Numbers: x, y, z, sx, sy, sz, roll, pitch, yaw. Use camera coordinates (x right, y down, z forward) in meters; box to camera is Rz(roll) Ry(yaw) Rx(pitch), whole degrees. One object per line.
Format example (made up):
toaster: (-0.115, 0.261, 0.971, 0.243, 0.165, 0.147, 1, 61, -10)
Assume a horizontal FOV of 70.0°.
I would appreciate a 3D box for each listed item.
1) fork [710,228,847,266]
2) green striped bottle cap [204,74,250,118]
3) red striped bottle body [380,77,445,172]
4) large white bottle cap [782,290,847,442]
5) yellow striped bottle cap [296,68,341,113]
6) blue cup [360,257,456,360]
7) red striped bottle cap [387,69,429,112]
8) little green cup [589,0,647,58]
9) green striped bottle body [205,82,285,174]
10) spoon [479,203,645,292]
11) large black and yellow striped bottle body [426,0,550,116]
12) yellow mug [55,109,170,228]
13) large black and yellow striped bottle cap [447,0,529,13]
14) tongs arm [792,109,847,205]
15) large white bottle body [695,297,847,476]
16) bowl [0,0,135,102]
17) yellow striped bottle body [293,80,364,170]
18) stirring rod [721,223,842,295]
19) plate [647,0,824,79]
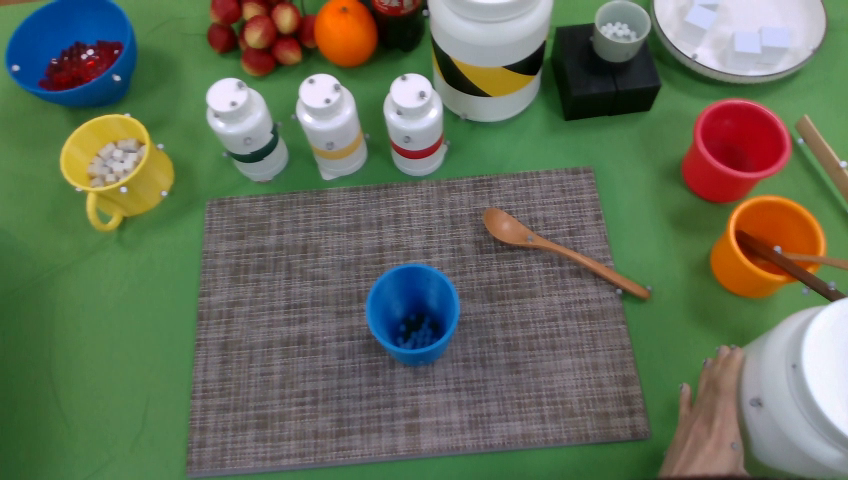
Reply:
fork: (0.367, 0.016, 0.571, 0.028, 0.019, 0.205, -39, 26, -18)
green striped bottle cap: (-0.204, -0.149, 0.625, 0.044, 0.020, 0.044, -1, 65, 2)
red striped bottle body: (-0.012, -0.131, 0.666, 0.063, 0.120, 0.062, -3, 65, 6)
large white bottle cap: (0.318, 0.090, 0.429, 0.115, 0.018, 0.114, -1, 66, 3)
yellow striped bottle cap: (-0.109, -0.154, 0.624, 0.044, 0.019, 0.044, 0, 68, 1)
blue cup: (-0.013, 0.075, 0.584, 0.092, 0.101, 0.092, 0, 66, 1)
red striped bottle cap: (-0.016, -0.153, 0.618, 0.044, 0.018, 0.044, 1, 65, -1)
little green cup: (0.219, -0.241, 0.692, 0.061, 0.039, 0.061, 0, 65, 1)
green striped bottle body: (-0.200, -0.128, 0.673, 0.063, 0.120, 0.062, -1, 66, 2)
spoon: (0.146, 0.010, 0.648, 0.193, 0.022, 0.041, 25, 45, 12)
large black and yellow striped bottle body: (0.069, -0.241, 0.674, 0.131, 0.185, 0.130, -1, 67, 3)
yellow mug: (-0.355, -0.076, 0.687, 0.100, 0.064, 0.130, 5, 68, 3)
large black and yellow striped bottle cap: (0.064, -0.273, 0.597, 0.115, 0.019, 0.114, -1, 66, 3)
tongs arm: (0.507, 0.016, 0.626, 0.051, 0.027, 0.381, -16, 68, -7)
large white bottle body: (0.323, 0.125, 0.506, 0.130, 0.186, 0.129, -1, 66, 3)
bowl: (-0.422, -0.224, 0.746, 0.151, 0.077, 0.150, -1, 67, 2)
yellow striped bottle body: (-0.106, -0.134, 0.671, 0.063, 0.121, 0.062, -1, 66, 3)
stirring rod: (0.338, 0.017, 0.577, 0.014, 0.006, 0.174, -11, 24, -4)
plate: (0.382, -0.283, 0.758, 0.209, 0.038, 0.207, -1, 67, 2)
